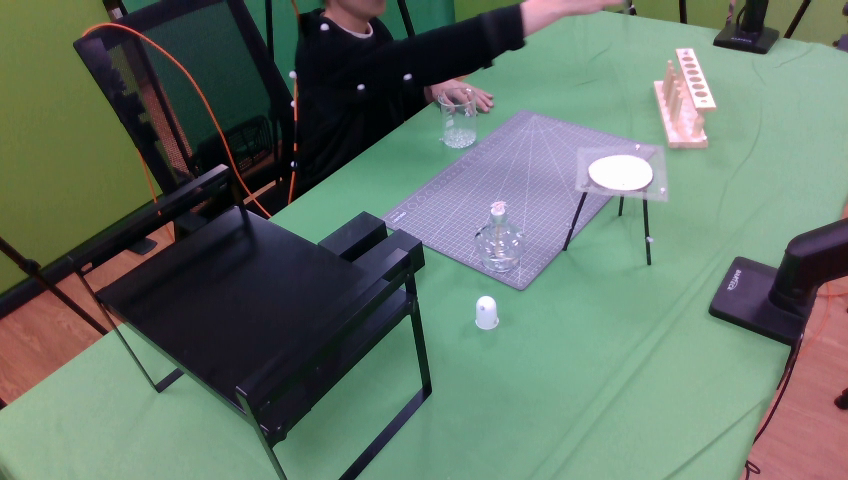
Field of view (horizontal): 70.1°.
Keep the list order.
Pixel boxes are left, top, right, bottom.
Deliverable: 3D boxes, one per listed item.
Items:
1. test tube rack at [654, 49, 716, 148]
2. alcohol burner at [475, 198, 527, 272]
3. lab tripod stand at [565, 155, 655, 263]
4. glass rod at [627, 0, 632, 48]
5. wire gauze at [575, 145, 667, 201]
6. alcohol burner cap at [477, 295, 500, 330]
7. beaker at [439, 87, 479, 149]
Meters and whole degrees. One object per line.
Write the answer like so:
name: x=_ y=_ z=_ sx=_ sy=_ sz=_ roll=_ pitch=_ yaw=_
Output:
test tube rack: x=0.502 y=-0.281 z=1.176 sx=0.066 sy=0.085 sz=0.241 roll=2 pitch=42 yaw=11
alcohol burner: x=0.113 y=-0.012 z=0.897 sx=0.078 sy=0.119 sz=0.077 roll=-6 pitch=40 yaw=6
lab tripod stand: x=0.285 y=-0.046 z=0.901 sx=0.148 sy=0.132 sz=0.147 roll=-5 pitch=42 yaw=5
glass rod: x=0.357 y=-0.425 z=1.053 sx=0.008 sy=0.201 sz=0.008 roll=-11 pitch=44 yaw=11
wire gauze: x=0.279 y=-0.100 z=0.861 sx=0.124 sy=0.011 sz=0.121 roll=5 pitch=43 yaw=14
alcohol burner cap: x=0.089 y=0.097 z=0.833 sx=0.034 sy=0.048 sz=0.033 roll=-4 pitch=42 yaw=4
beaker: x=0.072 y=-0.238 z=1.184 sx=0.073 sy=0.101 sz=0.084 roll=29 pitch=52 yaw=35
